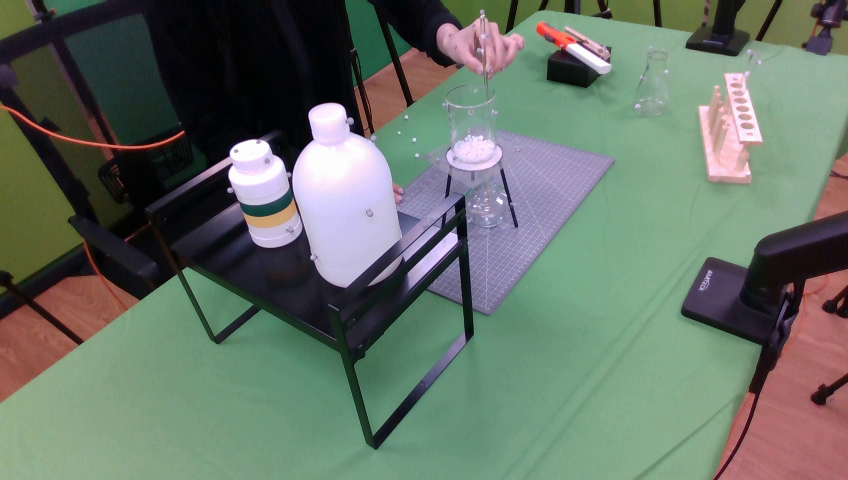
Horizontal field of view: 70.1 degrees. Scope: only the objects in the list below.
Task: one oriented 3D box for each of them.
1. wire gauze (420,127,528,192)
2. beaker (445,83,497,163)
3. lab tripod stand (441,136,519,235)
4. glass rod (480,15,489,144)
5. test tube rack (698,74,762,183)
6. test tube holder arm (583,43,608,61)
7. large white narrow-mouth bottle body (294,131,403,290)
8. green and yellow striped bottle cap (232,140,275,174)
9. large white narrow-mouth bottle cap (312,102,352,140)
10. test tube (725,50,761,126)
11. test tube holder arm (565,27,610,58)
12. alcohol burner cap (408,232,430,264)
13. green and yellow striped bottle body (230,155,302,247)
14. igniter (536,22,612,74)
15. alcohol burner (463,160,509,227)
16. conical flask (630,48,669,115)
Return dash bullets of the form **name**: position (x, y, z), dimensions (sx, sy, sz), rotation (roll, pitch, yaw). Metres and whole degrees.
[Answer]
- **wire gauze**: position (0.076, -0.131, 0.927), dimensions (0.122, 0.011, 0.124), rotation (-34, 49, -25)
- **beaker**: position (0.073, -0.174, 0.905), dimensions (0.074, 0.101, 0.084), rotation (3, 42, 13)
- **lab tripod stand**: position (0.083, -0.086, 0.976), dimensions (0.148, 0.132, 0.147), rotation (-4, 42, 4)
- **glass rod**: position (0.088, -0.224, 0.870), dimensions (0.008, 0.200, 0.008), rotation (-4, 42, 4)
- **test tube rack**: position (0.547, -0.208, 1.095), dimensions (0.066, 0.085, 0.242), rotation (5, 42, 15)
- **test tube holder arm**: position (0.379, -0.420, 1.341), dimensions (0.010, 0.015, 0.087), rotation (-39, 41, 10)
- **large white narrow-mouth bottle body**: position (-0.082, -0.047, 0.634), dimensions (0.102, 0.195, 0.101), rotation (-4, 39, 3)
- **green and yellow striped bottle cap**: position (-0.192, -0.093, 0.680), dimensions (0.045, 0.020, 0.045), rotation (-5, 39, 5)
- **large white narrow-mouth bottle cap**: position (-0.088, -0.114, 0.579), dimensions (0.038, 0.024, 0.037), rotation (-3, 39, 3)
- **test tube**: position (0.570, -0.269, 1.086), dimensions (0.017, 0.151, 0.017), rotation (-1, 45, 1)
- **test tube holder arm**: position (0.369, -0.450, 1.373), dimensions (0.013, 0.015, 0.177), rotation (-39, 41, 10)
- **alcohol burner cap**: position (-0.009, 0.010, 0.947), dimensions (0.034, 0.048, 0.033), rotation (-4, 41, 4)
- **green and yellow striped bottle body**: position (-0.188, -0.055, 0.714), dimensions (0.063, 0.120, 0.063), rotation (-4, 40, 4)
- **igniter**: position (0.330, -0.439, 1.366), dimensions (0.057, 0.025, 0.274), rotation (-11, 41, -19)
- **alcohol burner**: position (0.102, -0.081, 0.982), dimensions (0.078, 0.119, 0.077), rotation (-4, 43, 4)
- **conical flask**: position (0.456, -0.317, 1.205), dimensions (0.075, 0.122, 0.075), rotation (-4, 41, 4)
